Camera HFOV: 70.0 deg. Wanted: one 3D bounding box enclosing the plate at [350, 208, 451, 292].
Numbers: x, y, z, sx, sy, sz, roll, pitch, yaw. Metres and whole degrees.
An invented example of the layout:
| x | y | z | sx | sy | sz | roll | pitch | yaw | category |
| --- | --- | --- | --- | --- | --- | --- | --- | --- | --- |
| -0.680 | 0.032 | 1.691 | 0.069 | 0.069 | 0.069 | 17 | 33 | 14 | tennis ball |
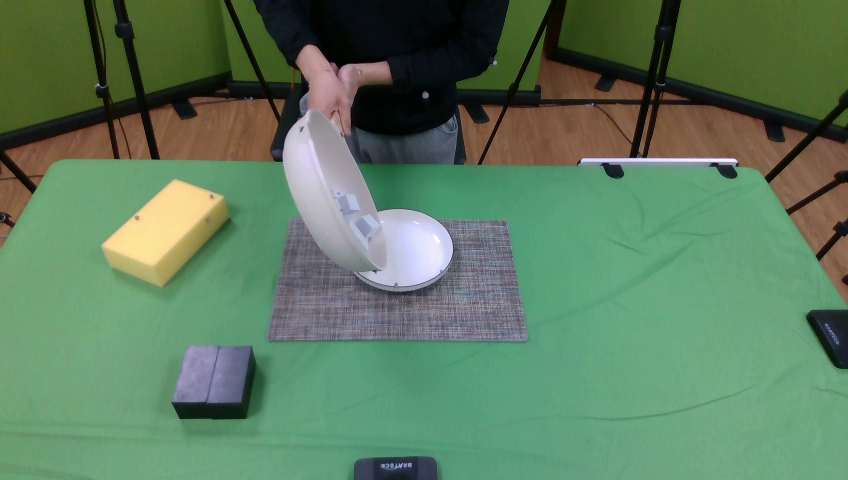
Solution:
| x | y | z | sx | sy | sz | roll | pitch | yaw | category |
| --- | --- | --- | --- | --- | --- | --- | --- | --- | --- |
| -0.053 | 0.022 | 1.156 | 0.208 | 0.039 | 0.206 | 2 | 46 | -2 | plate |

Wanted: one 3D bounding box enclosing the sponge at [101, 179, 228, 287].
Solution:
| x | y | z | sx | sy | sz | roll | pitch | yaw | category |
| --- | --- | --- | --- | --- | --- | --- | --- | --- | --- |
| -0.486 | -0.019 | 1.151 | 0.118 | 0.061 | 0.206 | 19 | 47 | 13 | sponge |

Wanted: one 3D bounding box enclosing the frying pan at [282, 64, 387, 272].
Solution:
| x | y | z | sx | sy | sz | roll | pitch | yaw | category |
| --- | --- | --- | --- | --- | --- | --- | --- | --- | --- |
| -0.158 | -0.155 | 1.082 | 0.103 | 0.309 | 0.484 | -15 | 51 | 12 | frying pan |
